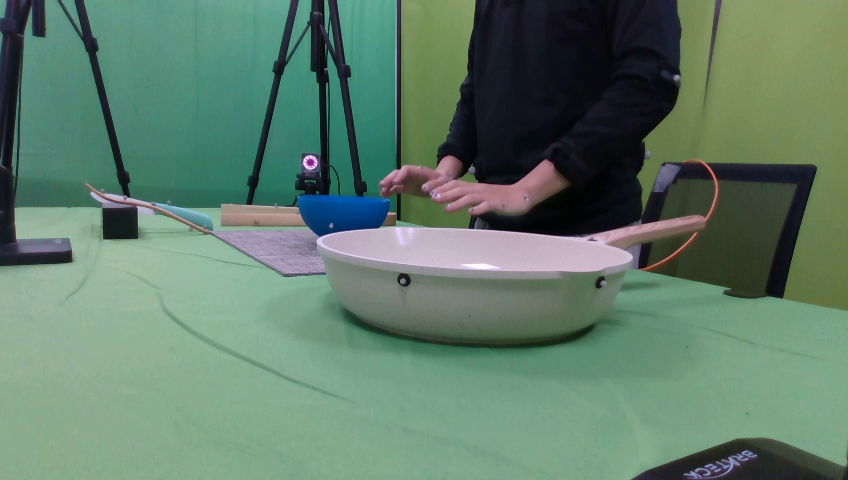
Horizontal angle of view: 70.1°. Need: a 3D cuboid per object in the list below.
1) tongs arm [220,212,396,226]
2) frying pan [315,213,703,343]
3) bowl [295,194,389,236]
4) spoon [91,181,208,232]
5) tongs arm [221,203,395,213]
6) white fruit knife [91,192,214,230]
[{"bbox_3d":[-0.233,-0.046,1.292,0.389,0.028,0.028,-1,6,-27],"label":"tongs arm"},{"bbox_3d":[0.133,0.013,0.629,0.490,0.102,0.305,-11,14,-29],"label":"frying pan"},{"bbox_3d":[-0.132,-0.032,0.980,0.151,0.077,0.151,2,7,0],"label":"bowl"},{"bbox_3d":[-0.461,-0.053,1.023,0.195,0.021,0.041,21,22,-24],"label":"spoon"},{"bbox_3d":[-0.258,-0.061,1.368,0.386,0.026,0.050,1,8,-14],"label":"tongs arm"},{"bbox_3d":[-0.477,-0.055,1.077,0.208,0.027,0.016,15,-5,-30],"label":"white fruit knife"}]
